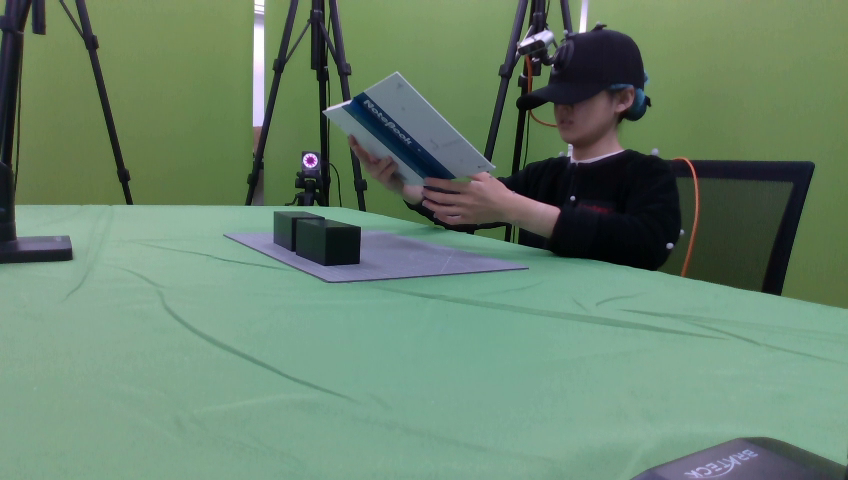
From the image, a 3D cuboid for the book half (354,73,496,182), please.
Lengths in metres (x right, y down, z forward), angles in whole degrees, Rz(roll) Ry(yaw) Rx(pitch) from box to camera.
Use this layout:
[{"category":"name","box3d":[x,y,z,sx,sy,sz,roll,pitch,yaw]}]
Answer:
[{"category":"book half","box3d":[0.000,-0.164,0.930,0.211,0.007,0.142,41,-22,-24]}]
